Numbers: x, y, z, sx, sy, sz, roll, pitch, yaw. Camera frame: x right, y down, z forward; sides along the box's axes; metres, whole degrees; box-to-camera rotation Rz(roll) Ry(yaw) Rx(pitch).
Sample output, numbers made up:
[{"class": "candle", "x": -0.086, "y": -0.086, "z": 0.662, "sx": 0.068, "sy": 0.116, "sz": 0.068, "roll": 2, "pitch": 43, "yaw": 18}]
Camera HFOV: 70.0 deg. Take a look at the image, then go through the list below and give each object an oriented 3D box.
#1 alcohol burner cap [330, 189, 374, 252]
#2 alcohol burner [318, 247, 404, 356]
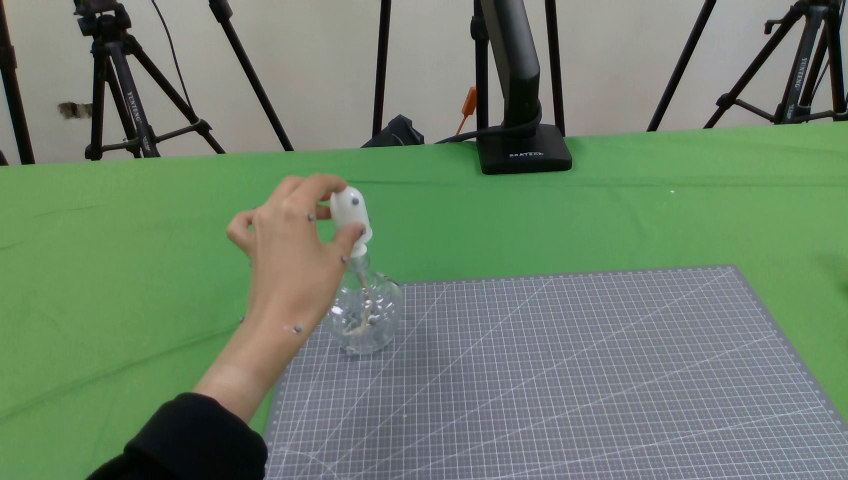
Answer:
[{"class": "alcohol burner cap", "x": -0.059, "y": -0.018, "z": 0.483, "sx": 0.034, "sy": 0.048, "sz": 0.033, "roll": -2, "pitch": 37, "yaw": 2}, {"class": "alcohol burner", "x": -0.057, "y": 0.044, "z": 0.532, "sx": 0.078, "sy": 0.120, "sz": 0.077, "roll": -1, "pitch": 37, "yaw": 1}]
